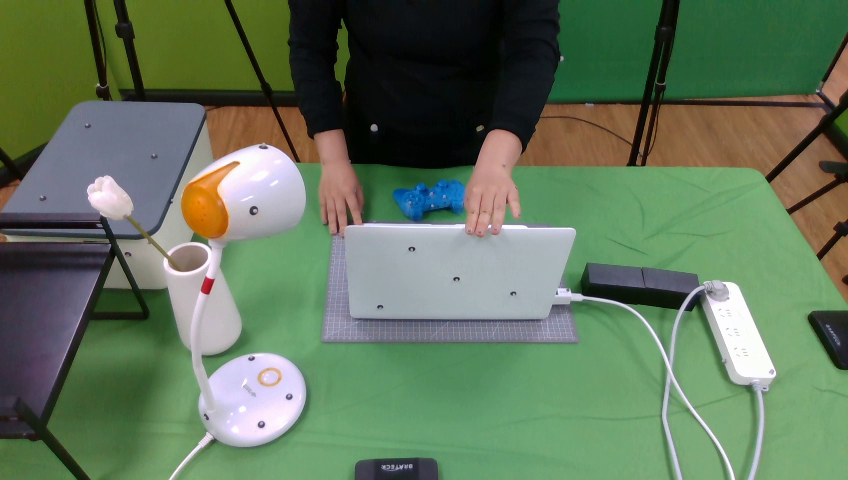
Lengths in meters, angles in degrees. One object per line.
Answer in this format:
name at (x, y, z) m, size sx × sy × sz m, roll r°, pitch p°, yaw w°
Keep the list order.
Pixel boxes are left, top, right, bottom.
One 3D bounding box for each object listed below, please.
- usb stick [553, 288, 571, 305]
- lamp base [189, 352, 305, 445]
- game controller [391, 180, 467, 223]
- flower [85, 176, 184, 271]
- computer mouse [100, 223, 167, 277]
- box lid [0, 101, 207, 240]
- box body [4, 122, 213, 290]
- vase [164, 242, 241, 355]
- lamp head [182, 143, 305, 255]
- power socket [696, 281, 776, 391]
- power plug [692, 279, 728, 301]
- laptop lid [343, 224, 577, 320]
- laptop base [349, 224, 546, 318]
usb stick at (0.236, 0.103, 1.101) m, size 0.059 × 0.027 × 0.021 m, roll -2°, pitch 46°, yaw 1°
lamp base at (-0.268, 0.197, 0.876) m, size 0.160 × 0.181 × 0.179 m, roll 26°, pitch 52°, yaw 19°
game controller at (0.015, -0.092, 1.273) m, size 0.155 × 0.052 × 0.096 m, roll -11°, pitch 52°, yaw -14°
flower at (-0.365, 0.038, 0.894) m, size 0.038 × 0.364 × 0.044 m, roll -4°, pitch 53°, yaw 15°
computer mouse at (-0.539, 0.015, 1.122) m, size 0.062 × 0.041 × 0.117 m, roll 30°, pitch 57°, yaw 18°
box lid at (-0.559, -0.137, 1.083) m, size 0.263 × 0.015 × 0.369 m, roll 2°, pitch 46°, yaw -2°
box body at (-0.563, -0.086, 1.138) m, size 0.254 × 0.161 × 0.361 m, roll 2°, pitch 46°, yaw -3°
vase at (-0.349, 0.096, 0.954) m, size 0.098 × 0.201 × 0.097 m, roll 3°, pitch 47°, yaw -3°
lamp head at (-0.216, -0.044, 0.697) m, size 0.112 × 0.113 × 0.123 m, roll 23°, pitch 31°, yaw 17°
power socket at (0.550, 0.160, 1.078) m, size 0.072 × 0.033 × 0.225 m, roll 2°, pitch 46°, yaw -1°
power plug at (0.522, 0.091, 1.115) m, size 0.072 × 0.053 × 0.035 m, roll 10°, pitch 47°, yaw 8°
laptop lid at (0.051, 0.059, 0.979) m, size 0.357 × 0.243 × 0.013 m, roll 1°, pitch 47°, yaw -5°
laptop base at (0.040, 0.056, 1.149) m, size 0.355 × 0.023 × 0.234 m, roll 0°, pitch 43°, yaw -4°
